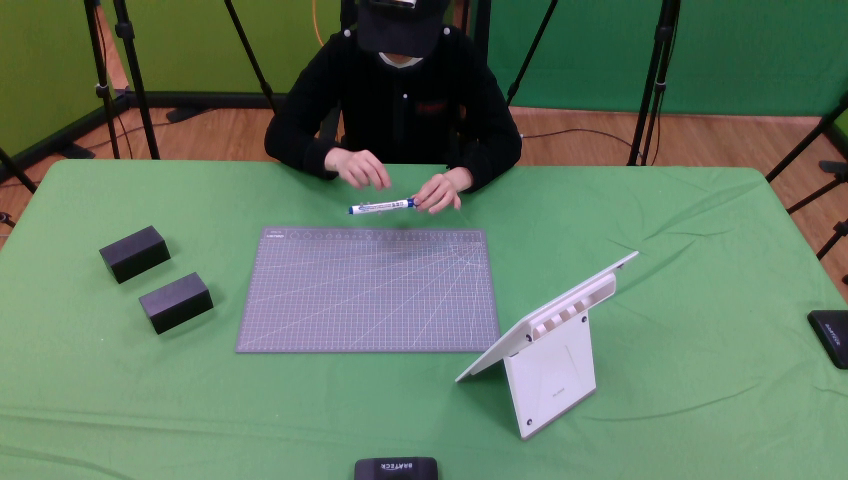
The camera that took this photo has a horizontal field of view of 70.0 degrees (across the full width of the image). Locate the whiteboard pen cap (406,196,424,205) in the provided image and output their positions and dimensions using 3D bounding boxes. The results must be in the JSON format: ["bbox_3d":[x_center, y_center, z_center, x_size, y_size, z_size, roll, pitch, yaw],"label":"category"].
[{"bbox_3d":[-0.018,-0.075,1.159,0.033,0.018,0.018,-8,47,-18],"label":"whiteboard pen cap"}]

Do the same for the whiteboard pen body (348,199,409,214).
[{"bbox_3d":[-0.074,-0.065,1.140,0.141,0.017,0.017,-9,47,-19],"label":"whiteboard pen body"}]

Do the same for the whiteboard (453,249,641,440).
[{"bbox_3d":[0.206,0.175,0.890,0.217,0.306,0.143,-24,72,-25],"label":"whiteboard"}]
